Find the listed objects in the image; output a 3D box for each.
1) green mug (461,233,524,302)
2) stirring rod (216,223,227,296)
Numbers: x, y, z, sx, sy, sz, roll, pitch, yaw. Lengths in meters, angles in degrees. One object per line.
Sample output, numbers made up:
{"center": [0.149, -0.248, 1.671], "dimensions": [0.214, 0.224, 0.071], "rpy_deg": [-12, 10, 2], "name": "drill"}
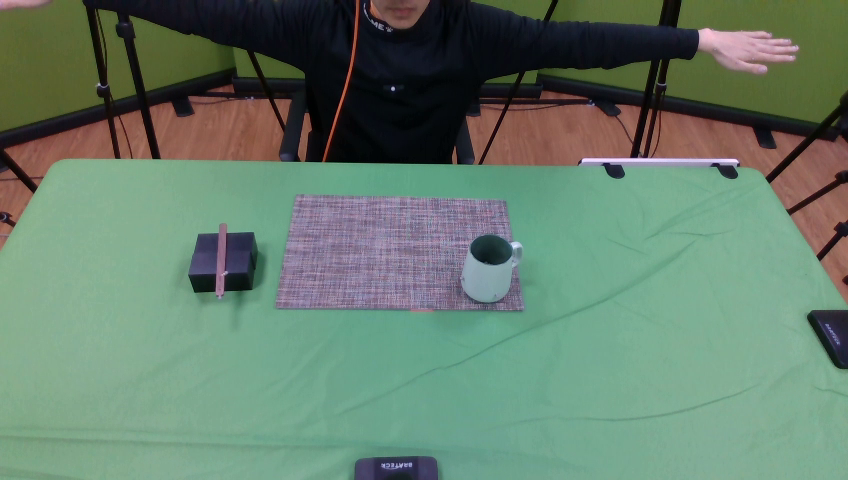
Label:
{"center": [0.130, 0.044, 1.101], "dimensions": [0.125, 0.105, 0.092], "rpy_deg": [-25, 53, -25], "name": "green mug"}
{"center": [-0.362, 0.031, 1.083], "dimensions": [0.014, 0.006, 0.175], "rpy_deg": [-7, 47, -9], "name": "stirring rod"}
